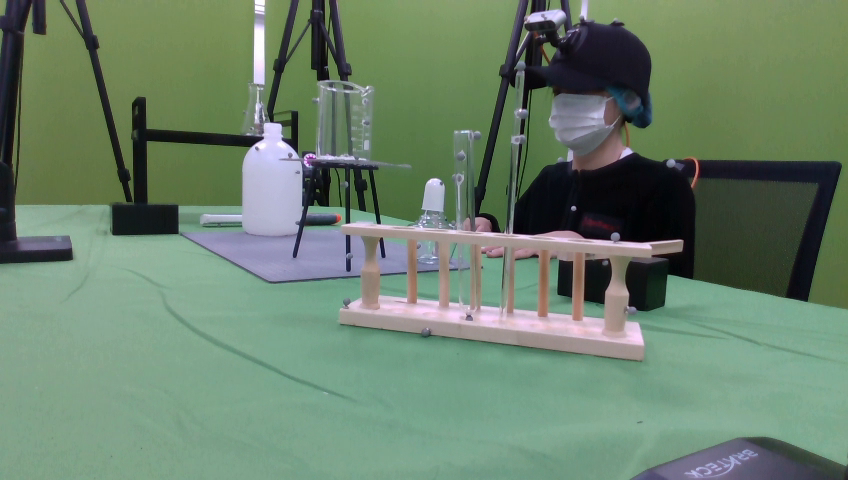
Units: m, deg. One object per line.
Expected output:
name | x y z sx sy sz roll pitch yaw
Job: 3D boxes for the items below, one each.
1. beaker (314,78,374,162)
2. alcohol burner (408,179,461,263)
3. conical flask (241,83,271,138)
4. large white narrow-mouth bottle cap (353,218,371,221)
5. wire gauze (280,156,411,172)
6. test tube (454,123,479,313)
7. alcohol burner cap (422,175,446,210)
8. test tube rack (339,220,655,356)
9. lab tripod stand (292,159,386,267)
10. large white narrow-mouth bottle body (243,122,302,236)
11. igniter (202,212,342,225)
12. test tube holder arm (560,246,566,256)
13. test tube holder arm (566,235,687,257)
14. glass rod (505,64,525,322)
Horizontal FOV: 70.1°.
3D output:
beaker | -0.101 -0.150 0.773 0.074 0.100 0.083 -2 8 -40
alcohol burner | 0.013 -0.029 0.834 0.078 0.119 0.078 0 6 0
conical flask | -0.384 -0.297 1.393 0.075 0.122 0.075 2 7 0
large white narrow-mouth bottle cap | -0.121 -0.029 1.184 0.038 0.024 0.037 2 8 0
wire gauze | -0.103 -0.103 0.785 0.121 0.011 0.126 11 8 42
test tube | 0.034 -0.016 0.477 0.017 0.150 0.017 -2 9 1
alcohol burner cap | 0.016 -0.065 0.830 0.034 0.048 0.034 7 4 0
test tube rack | 0.056 0.032 0.495 0.242 0.085 0.067 4 7 15
lab tripod stand | -0.105 -0.039 0.797 0.148 0.131 0.148 2 5 0
large white narrow-mouth bottle body | -0.264 -0.109 1.061 0.102 0.194 0.102 2 8 0
igniter | -0.298 -0.043 1.216 0.278 0.025 0.057 -3 -2 -32
test tube holder arm | 0.173 0.007 0.612 0.088 0.015 0.010 -3 9 -30
test tube holder arm | 0.215 0.006 0.630 0.179 0.015 0.013 -3 9 -31
glass rod | 0.069 -0.030 0.458 0.008 0.199 0.008 0 15 0
